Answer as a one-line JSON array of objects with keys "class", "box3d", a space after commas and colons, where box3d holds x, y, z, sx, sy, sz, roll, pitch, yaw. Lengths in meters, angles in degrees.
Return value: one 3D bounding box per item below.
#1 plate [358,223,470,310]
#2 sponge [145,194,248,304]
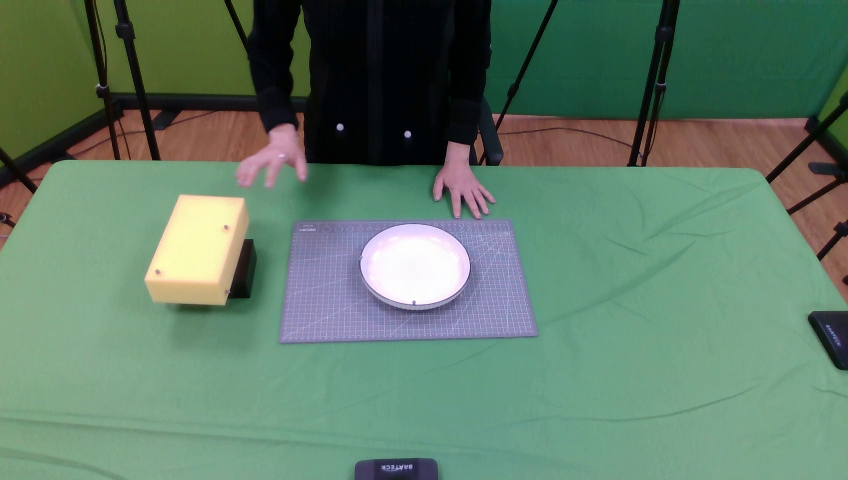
[{"class": "plate", "box3d": [-0.019, 0.052, 1.132, 0.209, 0.038, 0.208, 2, 46, -2]}, {"class": "sponge", "box3d": [-0.391, 0.013, 1.059, 0.118, 0.061, 0.205, 2, 46, -3]}]
